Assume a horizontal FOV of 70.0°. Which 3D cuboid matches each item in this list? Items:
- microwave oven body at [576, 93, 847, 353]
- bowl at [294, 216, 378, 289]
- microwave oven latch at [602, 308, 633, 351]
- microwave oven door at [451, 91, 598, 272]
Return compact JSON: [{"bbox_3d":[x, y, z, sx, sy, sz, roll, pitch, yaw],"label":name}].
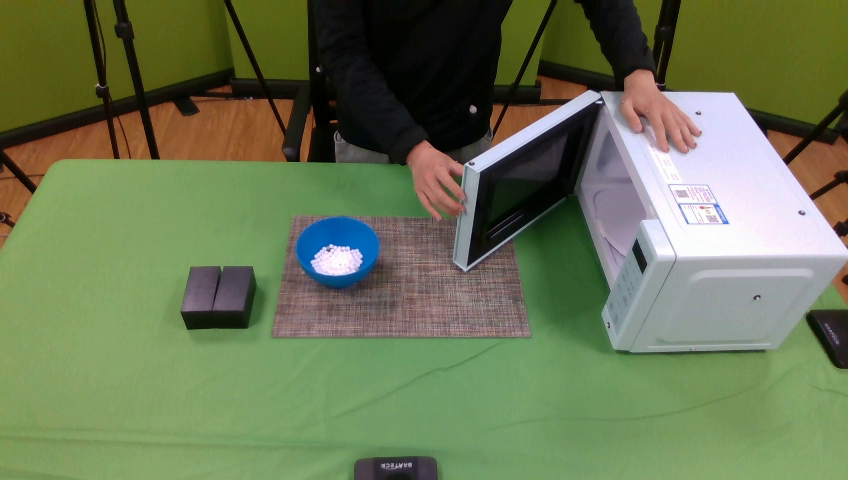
[{"bbox_3d":[0.475,-0.041,1.109,0.326,0.261,0.438,-1,45,-4],"label":"microwave oven body"},{"bbox_3d":[-0.158,0.036,1.110,0.151,0.077,0.150,2,45,-2],"label":"bowl"},{"bbox_3d":[0.332,0.153,1.044,0.030,0.029,0.078,-1,45,-4],"label":"microwave oven latch"},{"bbox_3d":[0.196,-0.116,1.154,0.356,0.245,0.039,-33,57,-31],"label":"microwave oven door"}]
